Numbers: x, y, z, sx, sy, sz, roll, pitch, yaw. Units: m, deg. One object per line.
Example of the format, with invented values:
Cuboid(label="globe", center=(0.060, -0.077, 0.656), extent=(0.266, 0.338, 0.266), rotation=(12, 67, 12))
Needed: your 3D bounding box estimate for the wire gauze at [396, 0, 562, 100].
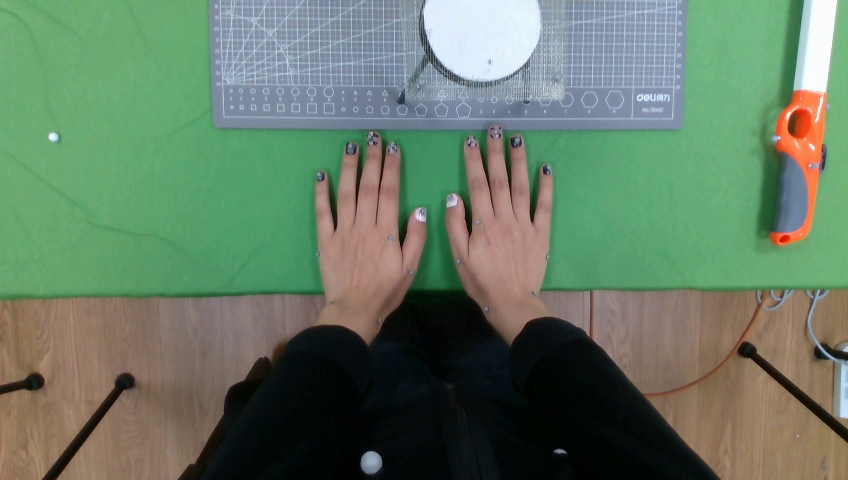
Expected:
Cuboid(label="wire gauze", center=(0.040, -0.165, 0.445), extent=(0.125, 0.011, 0.121), rotation=(-2, 94, -3))

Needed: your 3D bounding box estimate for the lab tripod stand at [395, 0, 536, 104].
Cuboid(label="lab tripod stand", center=(0.035, -0.168, 0.512), extent=(0.148, 0.131, 0.148), rotation=(0, 94, -1))

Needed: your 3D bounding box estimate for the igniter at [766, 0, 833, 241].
Cuboid(label="igniter", center=(0.367, -0.135, 0.587), extent=(0.057, 0.025, 0.277), rotation=(3, 96, -13))
